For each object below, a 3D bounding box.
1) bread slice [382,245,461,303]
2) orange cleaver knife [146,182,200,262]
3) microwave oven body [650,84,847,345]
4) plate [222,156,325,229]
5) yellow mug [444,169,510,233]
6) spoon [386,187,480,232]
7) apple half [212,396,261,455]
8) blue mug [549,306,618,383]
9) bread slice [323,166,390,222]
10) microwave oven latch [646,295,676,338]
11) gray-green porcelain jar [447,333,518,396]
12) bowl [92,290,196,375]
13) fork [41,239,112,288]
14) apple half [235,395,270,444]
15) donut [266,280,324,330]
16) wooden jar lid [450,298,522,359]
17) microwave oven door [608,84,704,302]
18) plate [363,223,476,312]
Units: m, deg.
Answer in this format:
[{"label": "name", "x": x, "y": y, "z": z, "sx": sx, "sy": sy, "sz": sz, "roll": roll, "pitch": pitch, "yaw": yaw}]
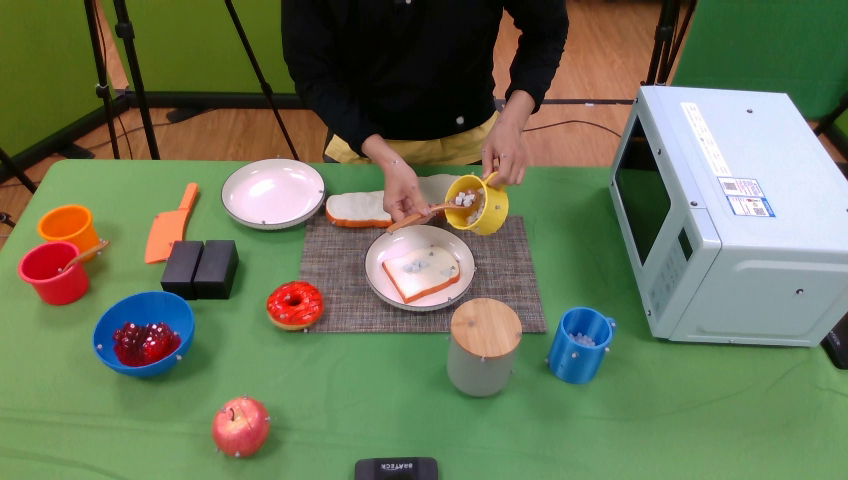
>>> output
[{"label": "bread slice", "x": 0.001, "y": 0.054, "z": 1.128, "sx": 0.131, "sy": 0.019, "sz": 0.104, "roll": -20, "pitch": 50, "yaw": -21}, {"label": "orange cleaver knife", "x": -0.494, "y": -0.039, "z": 1.198, "sx": 0.077, "sy": 0.012, "sz": 0.210, "roll": -4, "pitch": 48, "yaw": 2}, {"label": "microwave oven body", "x": 0.569, "y": -0.054, "z": 1.116, "sx": 0.326, "sy": 0.261, "sz": 0.439, "roll": 2, "pitch": 46, "yaw": -1}, {"label": "plate", "x": -0.308, "y": -0.094, "z": 1.251, "sx": 0.209, "sy": 0.038, "sz": 0.208, "roll": 2, "pitch": 46, "yaw": -2}, {"label": "yellow mug", "x": 0.103, "y": -0.077, "z": 1.084, "sx": 0.064, "sy": 0.131, "sz": 0.099, "roll": 12, "pitch": 36, "yaw": -46}, {"label": "spoon", "x": 0.017, "y": -0.054, "z": 1.062, "sx": 0.194, "sy": 0.022, "sz": 0.041, "roll": -21, "pitch": 55, "yaw": -27}, {"label": "apple half", "x": -0.276, "y": 0.276, "z": 0.877, "sx": 0.053, "sy": 0.075, "sz": 0.080, "roll": -29, "pitch": 58, "yaw": -21}, {"label": "blue mug", "x": 0.269, "y": 0.167, "z": 0.997, "sx": 0.116, "sy": 0.106, "sz": 0.082, "roll": -19, "pitch": 50, "yaw": -21}, {"label": "bread slice", "x": -0.140, "y": -0.092, "z": 1.224, "sx": 0.134, "sy": 0.018, "sz": 0.106, "roll": -19, "pitch": 51, "yaw": 6}, {"label": "microwave oven latch", "x": 0.413, "y": 0.133, "z": 1.060, "sx": 0.030, "sy": 0.029, "sz": 0.078, "roll": 4, "pitch": 46, "yaw": 1}, {"label": "gray-green porcelain jar", "x": 0.091, "y": 0.178, "z": 0.960, "sx": 0.106, "sy": 0.127, "sz": 0.105, "roll": 2, "pitch": 46, "yaw": -2}, {"label": "bowl", "x": -0.436, "y": 0.161, "z": 0.971, "sx": 0.151, "sy": 0.077, "sz": 0.150, "roll": 2, "pitch": 46, "yaw": -2}, {"label": "fork", "x": -0.591, "y": 0.040, "z": 1.028, "sx": 0.207, "sy": 0.019, "sz": 0.028, "roll": -27, "pitch": 37, "yaw": 29}, {"label": "apple half", "x": -0.245, "y": 0.259, "z": 0.893, "sx": 0.033, "sy": 0.082, "sz": 0.081, "roll": -29, "pitch": 55, "yaw": -22}, {"label": "donut", "x": -0.223, "y": 0.112, "z": 1.051, "sx": 0.099, "sy": 0.048, "sz": 0.098, "roll": 2, "pitch": 45, "yaw": -2}, {"label": "wooden jar lid", "x": 0.093, "y": 0.135, "z": 0.914, "sx": 0.108, "sy": 0.021, "sz": 0.107, "roll": 2, "pitch": 48, "yaw": -3}, {"label": "microwave oven door", "x": 0.424, "y": -0.096, "z": 1.138, "sx": 0.039, "sy": 0.245, "sz": 0.353, "roll": 2, "pitch": 47, "yaw": -1}, {"label": "plate", "x": -0.009, "y": 0.054, "z": 1.126, "sx": 0.208, "sy": 0.039, "sz": 0.206, "roll": 2, "pitch": 46, "yaw": -2}]
